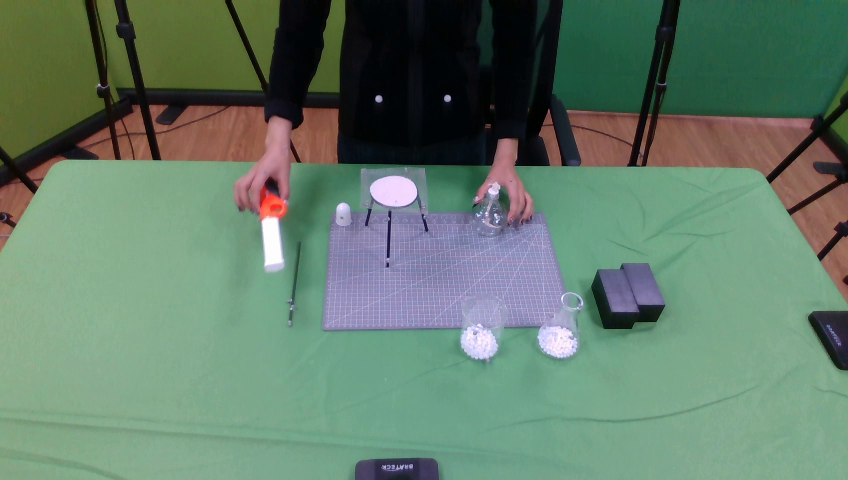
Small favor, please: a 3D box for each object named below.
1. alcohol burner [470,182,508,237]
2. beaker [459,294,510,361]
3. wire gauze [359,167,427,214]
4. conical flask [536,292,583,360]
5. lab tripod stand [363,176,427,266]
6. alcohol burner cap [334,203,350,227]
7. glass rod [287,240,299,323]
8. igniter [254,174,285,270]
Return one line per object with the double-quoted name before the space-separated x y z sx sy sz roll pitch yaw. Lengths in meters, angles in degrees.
"alcohol burner" 0.132 -0.065 1.207 0.078 0.120 0.077 2 44 -1
"beaker" 0.094 0.147 1.012 0.083 0.101 0.074 26 49 21
"wire gauze" -0.058 -0.093 1.110 0.125 0.011 0.120 2 45 -5
"conical flask" 0.234 0.139 1.015 0.075 0.122 0.075 2 46 -2
"lab tripod stand" -0.057 -0.047 1.159 0.148 0.132 0.147 3 44 -2
"alcohol burner cap" -0.166 -0.053 1.220 0.034 0.048 0.033 2 45 -2
"glass rod" -0.242 0.072 1.120 0.008 0.008 0.198 -1 46 -4
"igniter" -0.284 -0.043 1.120 0.057 0.025 0.274 -8 41 -11
